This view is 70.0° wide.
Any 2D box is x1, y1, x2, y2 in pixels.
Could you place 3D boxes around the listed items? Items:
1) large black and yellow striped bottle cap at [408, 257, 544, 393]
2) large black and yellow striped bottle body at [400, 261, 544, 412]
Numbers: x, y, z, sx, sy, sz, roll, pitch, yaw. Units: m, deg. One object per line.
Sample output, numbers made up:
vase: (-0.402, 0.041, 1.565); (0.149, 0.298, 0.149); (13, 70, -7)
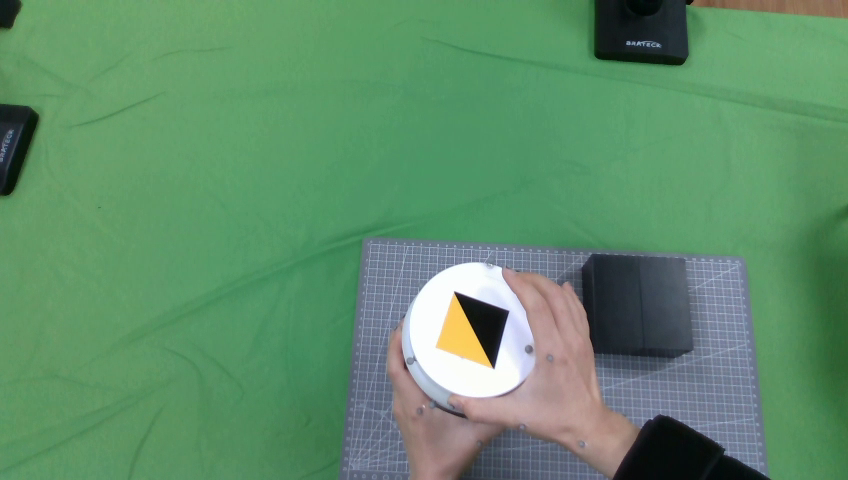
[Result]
large black and yellow striped bottle cap: (0.043, 0.070, 0.510); (0.115, 0.019, 0.114); (-1, 71, 2)
large black and yellow striped bottle body: (0.044, 0.096, 0.590); (0.131, 0.185, 0.130); (0, 71, 1)
